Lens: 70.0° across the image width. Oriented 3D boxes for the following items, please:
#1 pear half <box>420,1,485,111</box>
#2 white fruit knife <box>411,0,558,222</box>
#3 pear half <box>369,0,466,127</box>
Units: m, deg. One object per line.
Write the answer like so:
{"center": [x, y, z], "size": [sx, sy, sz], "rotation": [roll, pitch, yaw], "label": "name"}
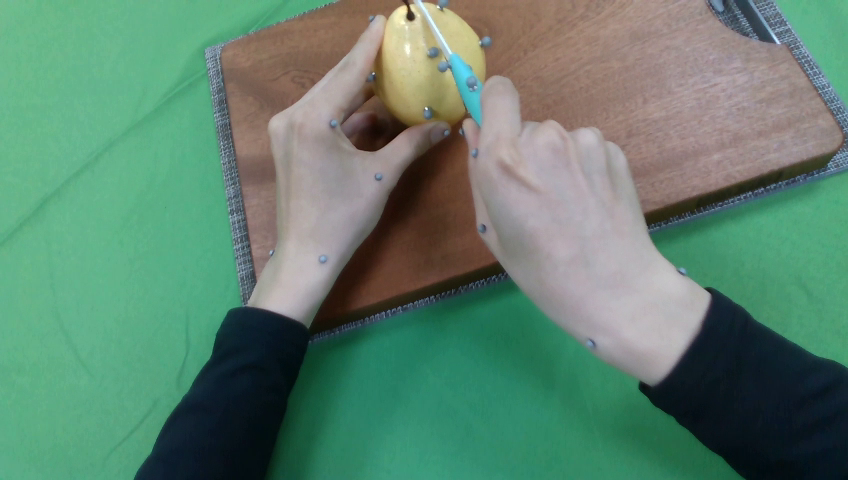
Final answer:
{"center": [0.023, -0.131, 0.412], "size": [0.031, 0.089, 0.069], "rotation": [-29, 58, -2], "label": "pear half"}
{"center": [0.021, -0.099, 0.356], "size": [0.016, 0.027, 0.205], "rotation": [-29, 67, 2], "label": "white fruit knife"}
{"center": [-0.012, -0.119, 0.403], "size": [0.056, 0.111, 0.075], "rotation": [-31, 60, 1], "label": "pear half"}
